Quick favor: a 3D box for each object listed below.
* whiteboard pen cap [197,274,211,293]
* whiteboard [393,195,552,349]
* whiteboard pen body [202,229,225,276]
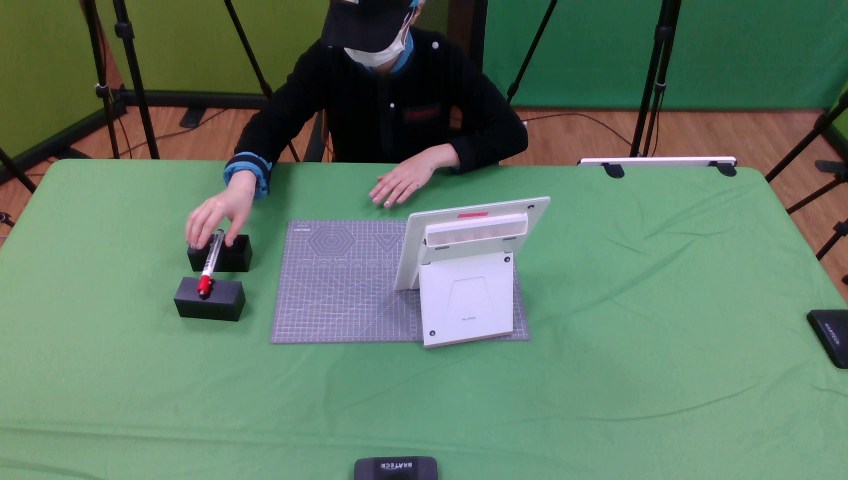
[{"bbox_3d":[-0.373,0.074,1.031,0.017,0.017,0.032,2,44,-2],"label":"whiteboard pen cap"},{"bbox_3d":[0.077,0.071,0.977,0.217,0.306,0.143,-7,66,-11],"label":"whiteboard"},{"bbox_3d":[-0.374,0.032,1.071,0.017,0.017,0.139,2,45,-2],"label":"whiteboard pen body"}]
